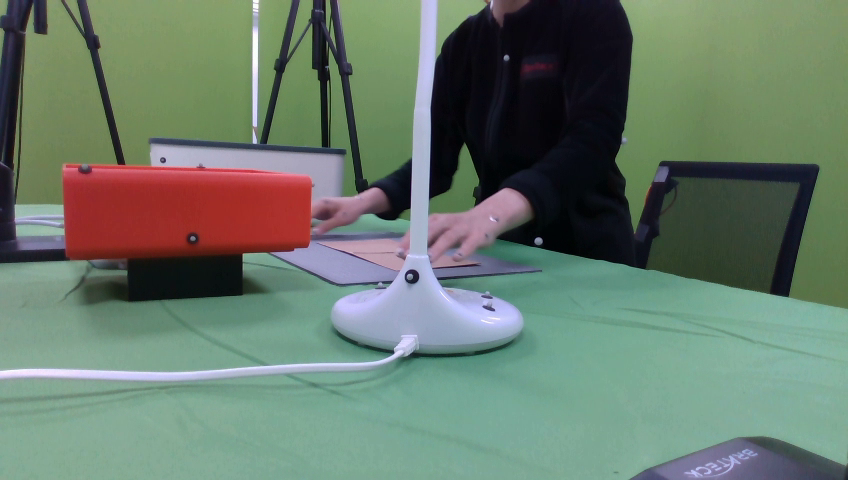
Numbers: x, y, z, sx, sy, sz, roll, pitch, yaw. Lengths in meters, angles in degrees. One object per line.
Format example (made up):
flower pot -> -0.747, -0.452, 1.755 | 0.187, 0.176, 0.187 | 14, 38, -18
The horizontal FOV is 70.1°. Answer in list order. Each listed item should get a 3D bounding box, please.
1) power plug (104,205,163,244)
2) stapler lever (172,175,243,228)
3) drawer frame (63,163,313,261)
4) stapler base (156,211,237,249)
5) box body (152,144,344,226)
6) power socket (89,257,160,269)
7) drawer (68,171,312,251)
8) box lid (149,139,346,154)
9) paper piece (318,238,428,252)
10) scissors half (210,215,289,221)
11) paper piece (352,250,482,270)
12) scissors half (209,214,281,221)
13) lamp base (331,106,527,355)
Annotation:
power plug -> -0.390, -0.021, 0.815 | 0.073, 0.052, 0.035 | -1, 7, -28
stapler lever -> -0.217, -0.041, 0.618 | 0.027, 0.040, 0.118 | 19, 11, -2
drawer frame -> -0.248, -0.036, 0.626 | 0.215, 0.082, 0.200 | -3, 9, -31
stapler base -> -0.227, -0.017, 0.624 | 0.041, 0.024, 0.130 | 19, 9, -2
box body -> -0.370, -0.119, 1.264 | 0.366, 0.160, 0.253 | -1, 8, -24
power socket -> -0.409, 0.004, 0.793 | 0.072, 0.032, 0.225 | -2, 8, -38
drawer -> -0.247, -0.036, 0.629 | 0.213, 0.073, 0.193 | -3, 9, -30
box lid -> -0.365, -0.192, 1.255 | 0.373, 0.015, 0.262 | -1, 8, -24
paper piece -> -0.083, 0.008, 0.952 | 0.136, 0.004, 0.134 | -2, 8, -31
scissors half -> -0.357, -0.044, 1.235 | 0.175, 0.013, 0.040 | 1, -4, 9
paper piece -> -0.013, 0.026, 0.841 | 0.139, 0.008, 0.135 | -1, 11, -32
scissors half -> -0.364, -0.044, 1.216 | 0.174, 0.013, 0.040 | 0, 1, 26
lamp base -> 0.006, -0.012, 0.478 | 0.161, 0.180, 0.179 | 2, 10, 2
